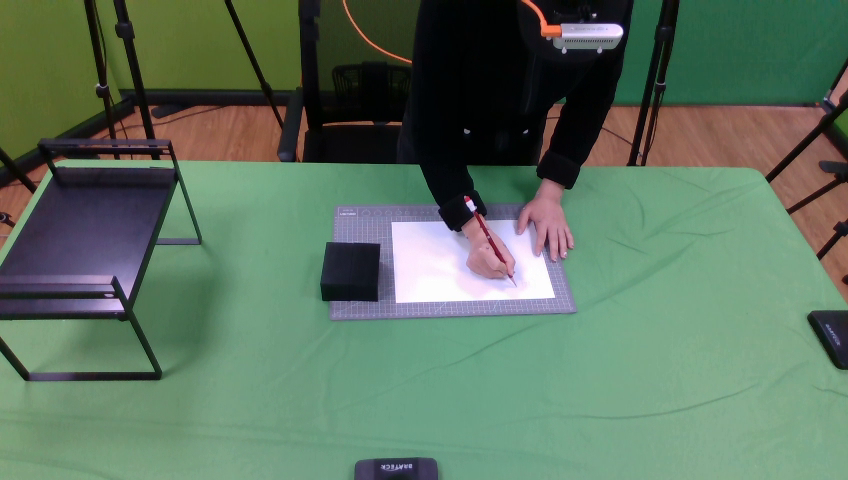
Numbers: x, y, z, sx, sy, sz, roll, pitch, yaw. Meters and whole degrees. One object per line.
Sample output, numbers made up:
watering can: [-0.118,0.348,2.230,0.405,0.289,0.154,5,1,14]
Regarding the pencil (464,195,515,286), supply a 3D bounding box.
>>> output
pencil: [0.124,0.003,1.123,0.012,0.012,0.194,-34,99,-31]
